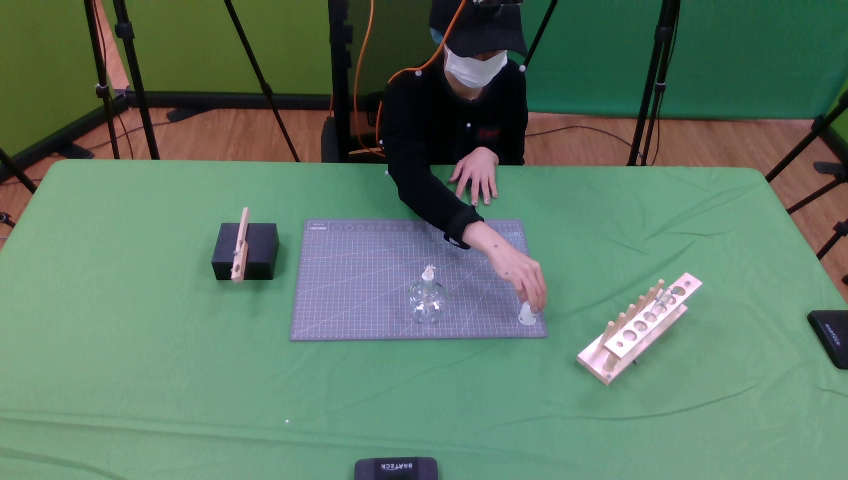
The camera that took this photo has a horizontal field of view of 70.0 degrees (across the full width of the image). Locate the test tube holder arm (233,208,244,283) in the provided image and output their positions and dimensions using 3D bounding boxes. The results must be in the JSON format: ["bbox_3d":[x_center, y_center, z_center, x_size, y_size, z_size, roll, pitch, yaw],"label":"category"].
[{"bbox_3d":[-0.337,0.006,1.101,0.013,0.015,0.177,-8,48,-7],"label":"test tube holder arm"}]

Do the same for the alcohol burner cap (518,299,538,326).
[{"bbox_3d":[0.186,0.126,1.072,0.034,0.048,0.033,2,44,-1],"label":"alcohol burner cap"}]

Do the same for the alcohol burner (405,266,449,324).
[{"bbox_3d":[0.005,0.089,1.043,0.078,0.120,0.077,1,45,-1],"label":"alcohol burner"}]

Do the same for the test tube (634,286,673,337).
[{"bbox_3d":[0.374,0.123,0.993,0.017,0.151,0.017,2,52,-2],"label":"test tube"}]

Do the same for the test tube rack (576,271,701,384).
[{"bbox_3d":[0.373,0.138,1.048,0.242,0.085,0.066,-31,55,-29],"label":"test tube rack"}]

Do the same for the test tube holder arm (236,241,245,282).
[{"bbox_3d":[-0.324,0.037,1.072,0.010,0.015,0.087,-6,47,-6],"label":"test tube holder arm"}]
